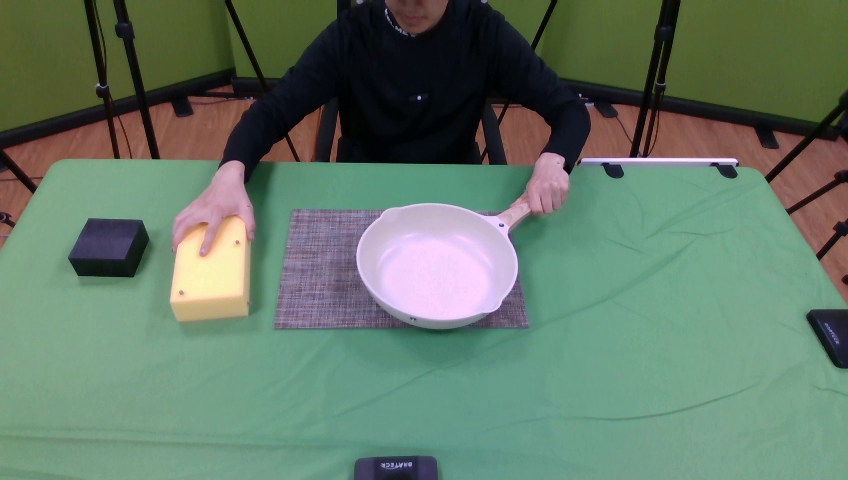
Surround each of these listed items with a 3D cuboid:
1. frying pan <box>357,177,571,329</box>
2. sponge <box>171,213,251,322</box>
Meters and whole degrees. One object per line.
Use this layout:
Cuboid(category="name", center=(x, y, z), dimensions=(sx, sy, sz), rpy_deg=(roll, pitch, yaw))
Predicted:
Cuboid(category="frying pan", center=(0.106, -0.002, 1.142), dimensions=(0.488, 0.103, 0.305), rpy_deg=(-32, 55, -22))
Cuboid(category="sponge", center=(-0.380, 0.045, 1.099), dimensions=(0.118, 0.061, 0.205), rpy_deg=(-6, 47, -9))
